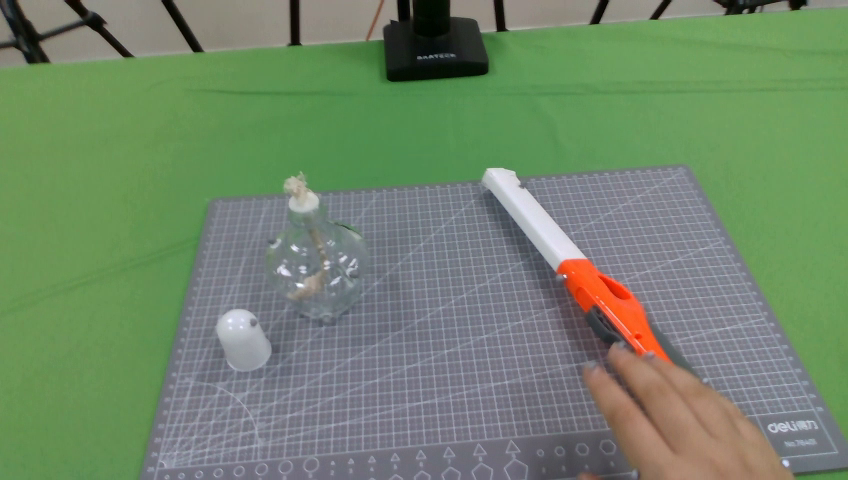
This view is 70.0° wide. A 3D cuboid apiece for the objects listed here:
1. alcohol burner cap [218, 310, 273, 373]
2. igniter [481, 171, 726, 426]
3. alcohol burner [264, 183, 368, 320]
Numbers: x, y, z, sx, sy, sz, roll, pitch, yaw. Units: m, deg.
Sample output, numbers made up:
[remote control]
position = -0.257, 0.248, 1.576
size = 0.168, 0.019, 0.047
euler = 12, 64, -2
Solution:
[alcohol burner cap]
position = -0.128, 0.069, 0.430
size = 0.034, 0.048, 0.033
euler = -1, 46, 1
[igniter]
position = 0.122, 0.029, 0.467
size = 0.057, 0.025, 0.273
euler = -1, 39, -31
[alcohol burner]
position = -0.080, 0.004, 0.441
size = 0.078, 0.120, 0.077
euler = 0, 47, 0
